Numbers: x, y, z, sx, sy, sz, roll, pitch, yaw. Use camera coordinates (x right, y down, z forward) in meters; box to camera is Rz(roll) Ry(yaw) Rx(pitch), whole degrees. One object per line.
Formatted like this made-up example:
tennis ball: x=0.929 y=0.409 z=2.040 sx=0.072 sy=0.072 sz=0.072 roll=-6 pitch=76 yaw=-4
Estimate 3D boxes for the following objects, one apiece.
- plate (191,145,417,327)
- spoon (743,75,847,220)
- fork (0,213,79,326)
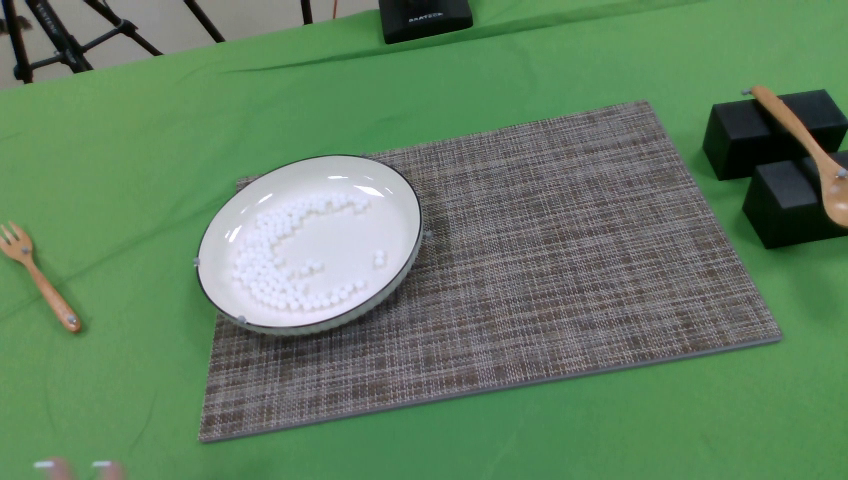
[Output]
plate: x=-0.107 y=-0.005 z=0.560 sx=0.207 sy=0.039 sz=0.205 roll=-5 pitch=50 yaw=7
spoon: x=0.308 y=-0.084 z=0.492 sx=0.041 sy=0.022 sz=0.191 roll=-26 pitch=46 yaw=19
fork: x=-0.392 y=0.027 z=0.607 sx=0.028 sy=0.019 sz=0.205 roll=-37 pitch=51 yaw=-27
